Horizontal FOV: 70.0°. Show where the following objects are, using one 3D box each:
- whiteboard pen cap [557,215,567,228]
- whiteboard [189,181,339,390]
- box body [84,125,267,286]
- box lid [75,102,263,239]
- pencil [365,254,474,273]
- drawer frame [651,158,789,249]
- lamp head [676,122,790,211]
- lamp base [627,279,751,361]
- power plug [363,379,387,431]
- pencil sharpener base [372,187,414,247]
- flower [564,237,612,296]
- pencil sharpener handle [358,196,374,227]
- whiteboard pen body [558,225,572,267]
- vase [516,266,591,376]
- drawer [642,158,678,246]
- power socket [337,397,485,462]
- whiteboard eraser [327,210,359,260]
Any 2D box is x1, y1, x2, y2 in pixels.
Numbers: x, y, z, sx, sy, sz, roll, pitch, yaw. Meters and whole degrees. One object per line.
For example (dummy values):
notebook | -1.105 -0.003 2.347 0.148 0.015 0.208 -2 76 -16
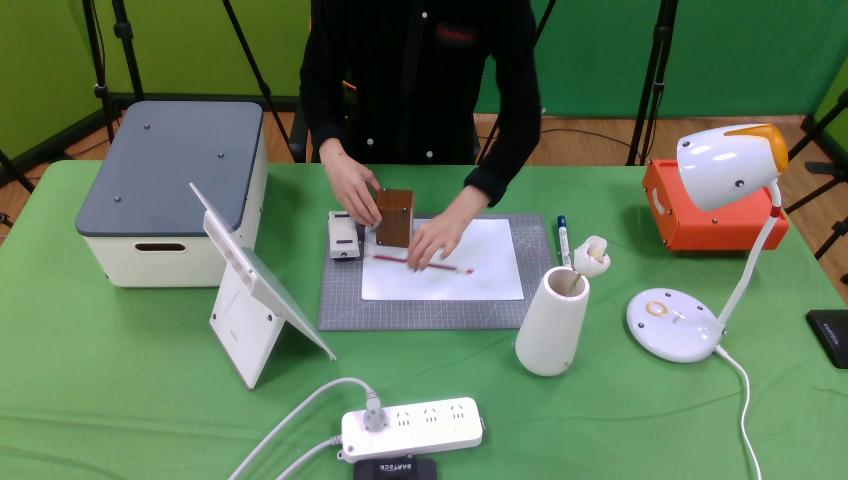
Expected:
whiteboard pen cap | 0.284 -0.034 1.245 0.018 0.018 0.033 4 51 -1
whiteboard | -0.292 0.096 0.929 0.144 0.307 0.216 -37 57 -10
box body | -0.446 -0.088 1.150 0.254 0.161 0.361 -1 46 -5
box lid | -0.443 -0.138 1.094 0.263 0.015 0.369 -1 47 -5
pencil | -0.009 0.040 1.059 0.194 0.012 0.012 8 46 7
drawer frame | 0.571 -0.075 1.214 0.214 0.083 0.200 0 46 -1
lamp head | 0.423 -0.104 0.819 0.122 0.113 0.112 -13 33 40
lamp base | 0.459 0.100 1.027 0.178 0.181 0.160 27 51 17
power plug | -0.072 0.252 0.910 0.035 0.053 0.072 3 45 -1
pencil sharpener base | -0.060 -0.043 1.171 0.077 0.107 0.061 5 46 1
flower | 0.206 0.088 0.893 0.038 0.363 0.044 -17 67 -9
pencil sharpener handle | -0.111 -0.054 1.161 0.030 0.068 0.036 5 36 1
whiteboard pen body | 0.280 0.010 1.207 0.017 0.017 0.140 3 50 -1
vase | 0.208 0.132 0.964 0.098 0.201 0.097 3 46 -3
drawer | 0.565 -0.075 1.211 0.212 0.073 0.193 2 45 -2
power socket | -0.018 0.285 0.915 0.227 0.033 0.071 -5 46 -8
whiteboard eraser | -0.159 -0.009 1.177 0.055 0.042 0.112 -6 47 -7
